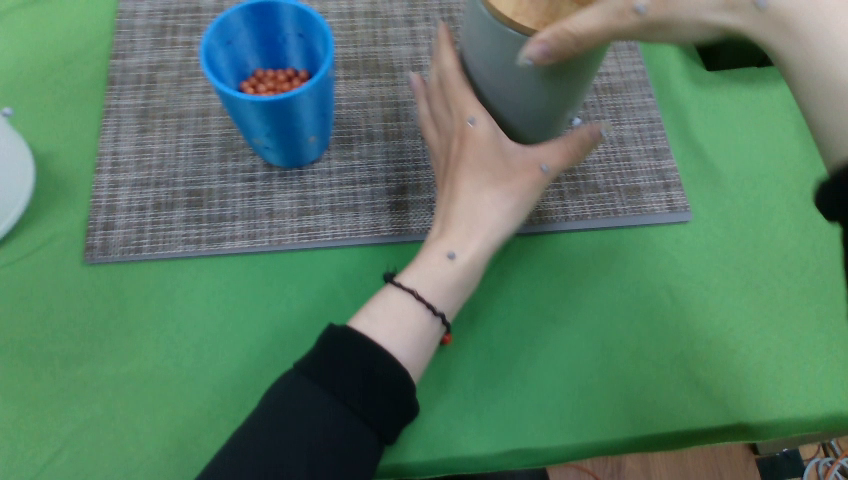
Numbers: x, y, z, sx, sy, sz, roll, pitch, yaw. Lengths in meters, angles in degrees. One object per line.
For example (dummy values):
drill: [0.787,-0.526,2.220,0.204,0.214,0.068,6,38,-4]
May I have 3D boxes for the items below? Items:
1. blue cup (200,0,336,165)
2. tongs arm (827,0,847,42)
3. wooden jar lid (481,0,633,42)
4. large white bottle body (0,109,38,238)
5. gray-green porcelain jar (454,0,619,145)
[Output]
blue cup: [-0.101,-0.104,0.432,0.093,0.101,0.092,1,66,-2]
tongs arm: [0.422,-0.104,0.514,0.051,0.026,0.381,-1,66,-12]
wooden jar lid: [0.082,-0.168,0.394,0.108,0.021,0.107,3,64,-5]
large white bottle body: [-0.340,-0.074,0.357,0.131,0.186,0.129,2,65,-4]
gray-green porcelain jar: [0.078,-0.141,0.450,0.106,0.127,0.105,2,65,-3]
